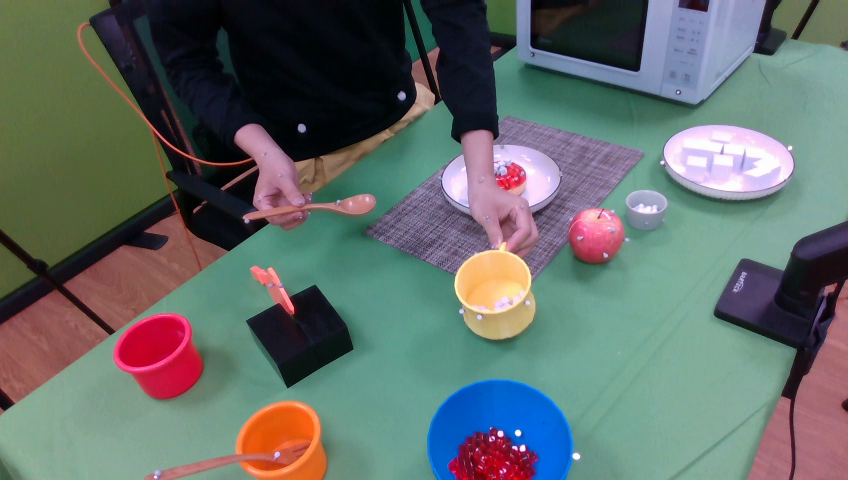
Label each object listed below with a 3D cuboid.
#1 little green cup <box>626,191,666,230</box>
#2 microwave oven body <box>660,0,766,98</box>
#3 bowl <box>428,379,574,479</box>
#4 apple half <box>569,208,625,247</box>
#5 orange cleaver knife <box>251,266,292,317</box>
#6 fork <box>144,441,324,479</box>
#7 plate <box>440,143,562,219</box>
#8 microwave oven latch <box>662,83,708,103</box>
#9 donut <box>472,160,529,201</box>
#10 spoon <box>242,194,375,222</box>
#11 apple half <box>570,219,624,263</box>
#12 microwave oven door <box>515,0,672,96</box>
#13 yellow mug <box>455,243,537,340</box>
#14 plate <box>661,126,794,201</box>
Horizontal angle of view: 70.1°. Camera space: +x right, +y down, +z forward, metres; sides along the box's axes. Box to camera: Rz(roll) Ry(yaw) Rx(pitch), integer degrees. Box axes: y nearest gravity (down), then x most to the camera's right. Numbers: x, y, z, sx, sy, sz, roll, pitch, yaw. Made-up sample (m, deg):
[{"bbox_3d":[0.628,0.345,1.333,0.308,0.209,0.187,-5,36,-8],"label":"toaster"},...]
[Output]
[{"bbox_3d":[0.352,-0.046,0.963,0.061,0.039,0.061,-4,40,4],"label":"little green cup"},{"bbox_3d":[0.472,-0.513,1.317,0.438,0.261,0.327,26,51,34],"label":"microwave oven body"},{"bbox_3d":[0.082,0.233,0.644,0.151,0.077,0.150,-4,39,4],"label":"bowl"},{"bbox_3d":[0.262,-0.014,0.913,0.080,0.075,0.053,4,37,20],"label":"apple half"},{"bbox_3d":[-0.221,0.071,0.873,0.012,0.077,0.210,-25,11,-21],"label":"orange cleaver knife"},{"bbox_3d":[-0.189,0.231,0.631,0.028,0.018,0.209,33,11,38],"label":"fork"},{"bbox_3d":[0.134,-0.098,1.051,0.209,0.038,0.208,-4,40,4],"label":"plate"},{"bbox_3d":[0.518,-0.296,1.204,0.078,0.029,0.030,27,52,35],"label":"microwave oven latch"},{"bbox_3d":[0.131,-0.105,1.043,0.099,0.048,0.098,-5,37,4],"label":"donut"},{"bbox_3d":[-0.164,-0.045,0.874,0.195,0.021,0.041,-6,48,-27],"label":"spoon"},{"bbox_3d":[0.250,0.010,0.885,0.081,0.081,0.033,7,39,17],"label":"apple half"},{"bbox_3d":[0.344,-0.455,1.259,0.353,0.245,0.039,26,51,33],"label":"microwave oven door"},{"bbox_3d":[0.099,0.060,0.801,0.099,0.064,0.130,4,52,19],"label":"yellow mug"},{"bbox_3d":[0.513,-0.127,1.035,0.207,0.039,0.206,-4,40,4],"label":"plate"}]
